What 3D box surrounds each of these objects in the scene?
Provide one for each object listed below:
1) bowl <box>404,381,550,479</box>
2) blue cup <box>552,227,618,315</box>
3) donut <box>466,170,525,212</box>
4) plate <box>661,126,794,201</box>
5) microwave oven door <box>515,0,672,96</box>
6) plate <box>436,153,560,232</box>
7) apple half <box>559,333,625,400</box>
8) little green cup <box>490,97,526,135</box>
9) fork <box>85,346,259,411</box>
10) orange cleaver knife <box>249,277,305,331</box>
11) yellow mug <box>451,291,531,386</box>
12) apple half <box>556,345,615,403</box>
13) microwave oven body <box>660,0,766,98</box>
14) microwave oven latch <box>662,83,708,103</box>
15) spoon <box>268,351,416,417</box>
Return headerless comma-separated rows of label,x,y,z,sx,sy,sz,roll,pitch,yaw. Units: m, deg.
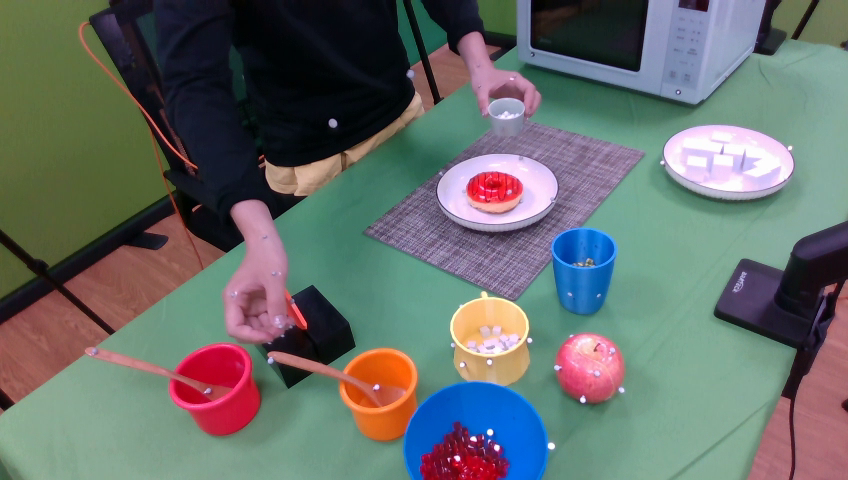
bowl,0.058,0.235,0.645,0.151,0.077,0.150,-4,39,4
blue cup,0.218,0.047,0.825,0.092,0.100,0.092,-6,39,5
donut,0.121,-0.083,1.019,0.099,0.048,0.098,-4,38,4
plate,0.513,-0.128,1.035,0.207,0.039,0.206,-4,40,4
microwave oven door,0.344,-0.455,1.259,0.353,0.245,0.039,26,51,33
plate,0.125,-0.078,1.029,0.209,0.038,0.208,-4,40,4
apple half,0.209,0.147,0.730,0.080,0.075,0.053,26,48,38
little green cup,0.138,-0.205,1.006,0.061,0.039,0.061,-1,48,1
fork,-0.298,0.166,0.727,0.209,0.018,0.028,28,47,-23
orange cleaver knife,-0.210,0.088,0.855,0.012,0.077,0.210,-28,15,-25
yellow mug,0.086,0.120,0.786,0.100,0.064,0.130,-7,39,2
apple half,0.181,0.167,0.709,0.080,0.081,0.033,29,50,35
microwave oven body,0.473,-0.514,1.317,0.438,0.261,0.327,26,51,34
microwave oven latch,0.518,-0.297,1.205,0.078,0.029,0.030,29,53,36
spoon,-0.091,0.163,0.699,0.021,0.195,0.041,-43,31,28
